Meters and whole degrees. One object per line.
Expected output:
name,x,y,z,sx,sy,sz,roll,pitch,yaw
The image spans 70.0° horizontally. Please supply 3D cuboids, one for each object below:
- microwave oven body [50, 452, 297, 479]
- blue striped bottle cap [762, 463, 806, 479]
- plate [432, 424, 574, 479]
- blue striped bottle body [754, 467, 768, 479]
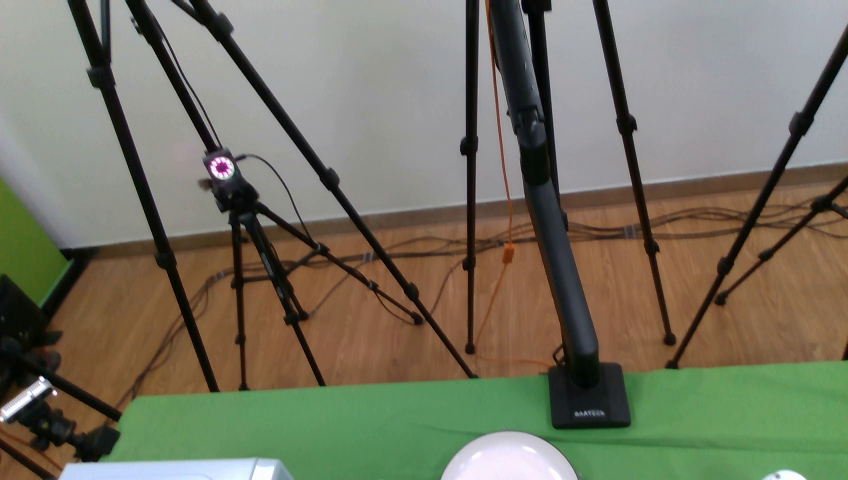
microwave oven body,-0.324,0.503,0.682,0.325,0.263,0.437,-6,43,11
blue striped bottle cap,0.427,0.287,0.717,0.044,0.021,0.044,-9,44,9
plate,0.114,0.367,0.872,0.207,0.039,0.205,-8,42,8
blue striped bottle body,0.438,0.325,0.750,0.063,0.122,0.062,-9,41,8
